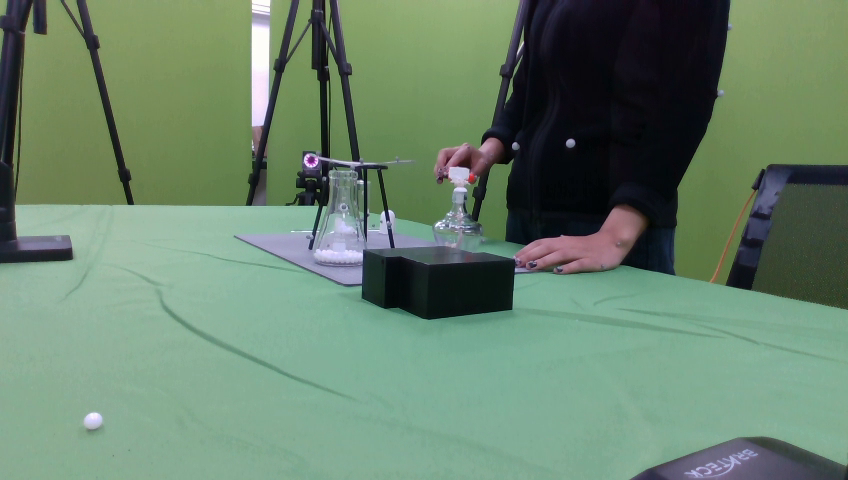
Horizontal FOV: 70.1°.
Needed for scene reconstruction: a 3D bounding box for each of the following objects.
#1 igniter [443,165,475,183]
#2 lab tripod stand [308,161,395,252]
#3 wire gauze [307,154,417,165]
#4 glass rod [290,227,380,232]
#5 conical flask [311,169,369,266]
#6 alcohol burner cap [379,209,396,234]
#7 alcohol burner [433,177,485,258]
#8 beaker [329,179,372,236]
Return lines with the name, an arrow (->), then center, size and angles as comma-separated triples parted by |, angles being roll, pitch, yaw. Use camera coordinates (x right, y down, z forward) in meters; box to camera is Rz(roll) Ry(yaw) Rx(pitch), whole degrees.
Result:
igniter -> 0.061, -0.113, 1.043 | 0.057, 0.025, 0.276 | 7, 4, 2
lab tripod stand -> -0.098, -0.053, 0.919 | 0.148, 0.131, 0.148 | 4, 7, 0
wire gauze -> -0.094, -0.120, 0.913 | 0.122, 0.011, 0.124 | -5, 11, -45
glass rod -> -0.161, -0.022, 1.177 | 0.201, 0.008, 0.008 | -2, 8, -28
conical flask -> -0.107, -0.031, 0.786 | 0.075, 0.122, 0.075 | 2, 8, 0
alcohol burner cap -> -0.069, -0.036, 1.154 | 0.034, 0.048, 0.034 | 2, 7, 0
alcohol burner -> 0.052, -0.033, 0.894 | 0.078, 0.119, 0.078 | 2, 9, 0
beaker -> -0.137, -0.061, 1.101 | 0.084, 0.100, 0.074 | 4, 7, 20
